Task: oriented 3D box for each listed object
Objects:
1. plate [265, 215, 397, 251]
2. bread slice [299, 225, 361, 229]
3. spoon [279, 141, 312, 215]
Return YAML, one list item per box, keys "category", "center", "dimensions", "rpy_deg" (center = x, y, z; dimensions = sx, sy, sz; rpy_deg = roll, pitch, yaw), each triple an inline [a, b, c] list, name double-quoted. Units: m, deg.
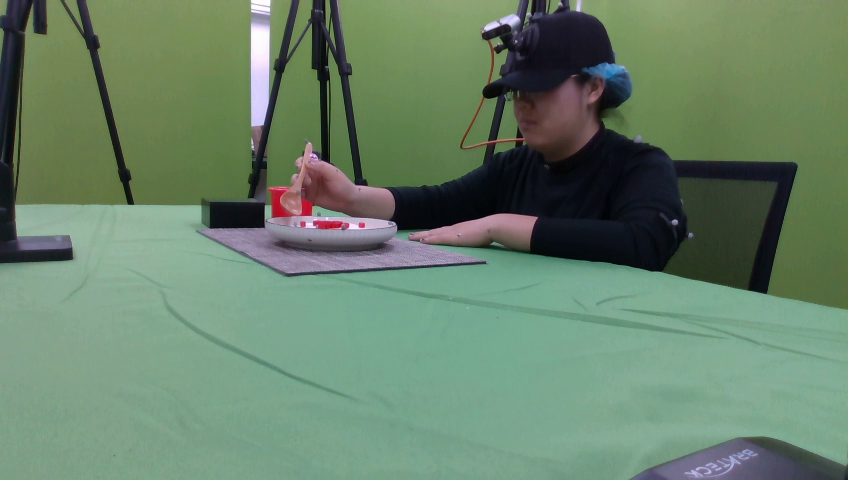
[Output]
- category: "plate"
  center: [-0.147, -0.012, 0.963]
  dimensions: [0.209, 0.038, 0.209]
  rpy_deg: [3, 7, 0]
- category: "bread slice"
  center: [-0.154, -0.011, 0.973]
  dimensions: [0.132, 0.019, 0.104]
  rpy_deg: [0, 7, -31]
- category: "spoon"
  center: [-0.213, -0.110, 1.041]
  dimensions: [0.042, 0.193, 0.021]
  rpy_deg: [32, -48, -25]
